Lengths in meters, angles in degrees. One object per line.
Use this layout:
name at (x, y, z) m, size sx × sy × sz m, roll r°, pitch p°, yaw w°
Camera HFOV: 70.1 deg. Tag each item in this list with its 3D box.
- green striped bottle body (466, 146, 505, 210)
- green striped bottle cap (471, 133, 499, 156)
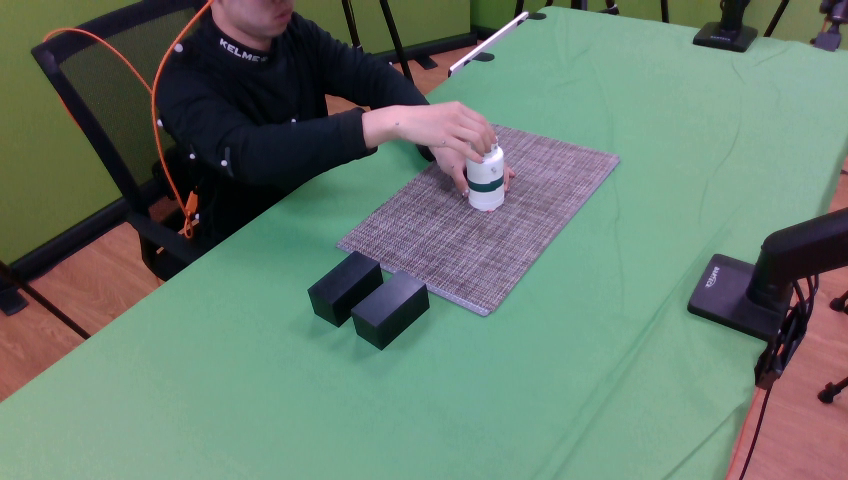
green striped bottle body at (0.102, -0.114, 1.005) m, size 0.063 × 0.120 × 0.063 m, roll -4°, pitch 41°, yaw 4°
green striped bottle cap at (0.097, -0.154, 0.969) m, size 0.044 × 0.020 × 0.044 m, roll -4°, pitch 41°, yaw 4°
